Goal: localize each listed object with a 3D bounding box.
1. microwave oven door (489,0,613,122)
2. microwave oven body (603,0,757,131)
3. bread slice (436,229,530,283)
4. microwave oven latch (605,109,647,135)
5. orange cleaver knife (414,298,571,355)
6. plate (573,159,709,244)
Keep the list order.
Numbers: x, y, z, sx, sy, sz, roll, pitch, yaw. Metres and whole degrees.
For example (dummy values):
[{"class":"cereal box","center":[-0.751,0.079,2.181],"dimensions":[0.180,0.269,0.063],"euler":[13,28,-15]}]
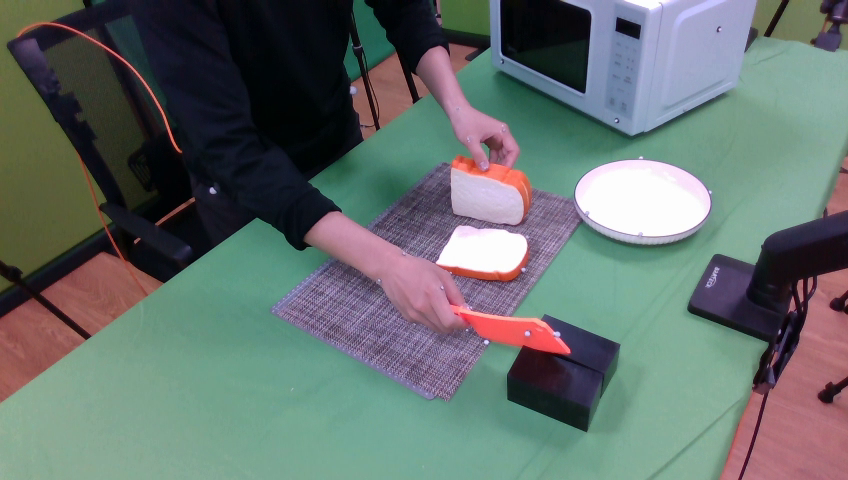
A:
[{"class":"microwave oven door","center":[0.250,-0.412,1.219],"dimensions":[0.039,0.245,0.352],"euler":[-27,44,-21]},{"class":"microwave oven body","center":[0.396,-0.448,1.248],"dimensions":[0.327,0.261,0.437],"euler":[-27,44,-21]},{"class":"bread slice","center":[0.093,0.025,0.929],"dimensions":[0.133,0.018,0.107],"euler":[7,47,30]},{"class":"microwave oven latch","center":[0.378,-0.225,1.139],"dimensions":[0.030,0.029,0.078],"euler":[-26,43,-19]},{"class":"orange cleaver knife","center":[0.080,0.108,0.752],"dimensions":[0.209,0.078,0.012],"euler":[7,54,38]},{"class":"plate","center":[0.347,-0.059,0.979],"dimensions":[0.207,0.039,0.206],"euler":[-4,41,4]}]
